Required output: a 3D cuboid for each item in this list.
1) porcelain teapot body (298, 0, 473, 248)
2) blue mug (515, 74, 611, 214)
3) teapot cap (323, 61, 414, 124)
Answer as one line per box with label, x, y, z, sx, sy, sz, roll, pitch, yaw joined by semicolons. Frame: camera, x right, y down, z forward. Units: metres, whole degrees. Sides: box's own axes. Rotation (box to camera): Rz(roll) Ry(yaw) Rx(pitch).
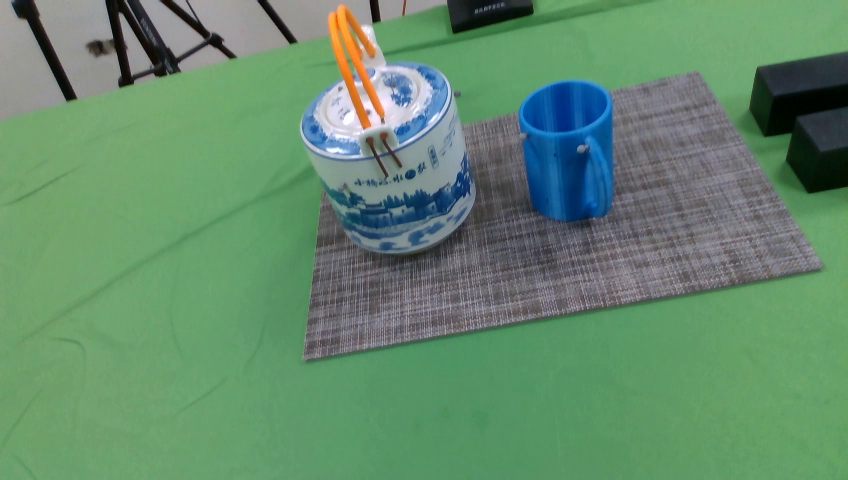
porcelain teapot body;-0.046;-0.127;0.584;0.145;0.228;0.203;-17;46;3
blue mug;0.139;-0.080;0.564;0.082;0.107;0.115;-23;46;-4
teapot cap;-0.051;-0.134;0.536;0.085;0.044;0.084;-8;45;8
